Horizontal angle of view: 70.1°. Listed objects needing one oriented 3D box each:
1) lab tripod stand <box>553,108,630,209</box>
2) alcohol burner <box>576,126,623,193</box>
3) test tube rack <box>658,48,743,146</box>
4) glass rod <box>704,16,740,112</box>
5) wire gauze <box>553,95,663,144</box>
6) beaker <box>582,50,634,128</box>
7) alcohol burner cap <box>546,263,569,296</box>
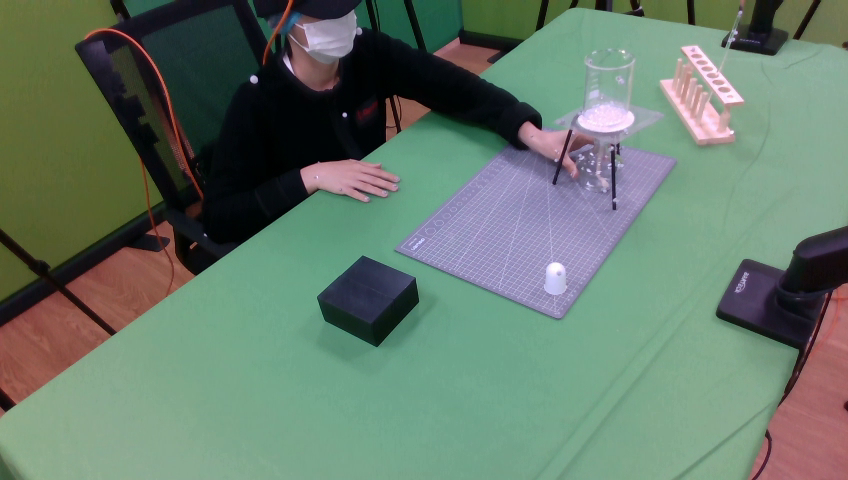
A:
[{"bbox_3d":[0.292,-0.144,1.010,0.148,0.132,0.147,-5,38,4],"label":"lab tripod stand"},{"bbox_3d":[0.298,-0.140,1.020,0.078,0.119,0.077,-3,40,3],"label":"alcohol burner"},{"bbox_3d":[0.532,-0.284,1.180,0.067,0.085,0.241,-5,40,4],"label":"test tube rack"},{"bbox_3d":[0.549,-0.320,1.117,0.008,0.200,0.008,-2,48,3],"label":"glass rod"},{"bbox_3d":[0.293,-0.191,0.964,0.125,0.011,0.120,-29,45,-29],"label":"wire gauze"},{"bbox_3d":[0.285,-0.234,0.939,0.084,0.101,0.073,-28,43,-23],"label":"beaker"},{"bbox_3d":[0.191,0.053,0.862,0.034,0.048,0.033,-5,40,4],"label":"alcohol burner cap"}]
